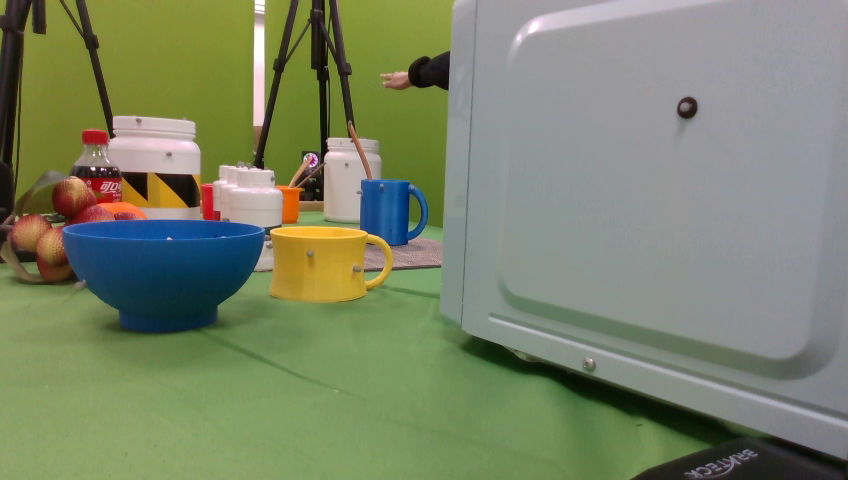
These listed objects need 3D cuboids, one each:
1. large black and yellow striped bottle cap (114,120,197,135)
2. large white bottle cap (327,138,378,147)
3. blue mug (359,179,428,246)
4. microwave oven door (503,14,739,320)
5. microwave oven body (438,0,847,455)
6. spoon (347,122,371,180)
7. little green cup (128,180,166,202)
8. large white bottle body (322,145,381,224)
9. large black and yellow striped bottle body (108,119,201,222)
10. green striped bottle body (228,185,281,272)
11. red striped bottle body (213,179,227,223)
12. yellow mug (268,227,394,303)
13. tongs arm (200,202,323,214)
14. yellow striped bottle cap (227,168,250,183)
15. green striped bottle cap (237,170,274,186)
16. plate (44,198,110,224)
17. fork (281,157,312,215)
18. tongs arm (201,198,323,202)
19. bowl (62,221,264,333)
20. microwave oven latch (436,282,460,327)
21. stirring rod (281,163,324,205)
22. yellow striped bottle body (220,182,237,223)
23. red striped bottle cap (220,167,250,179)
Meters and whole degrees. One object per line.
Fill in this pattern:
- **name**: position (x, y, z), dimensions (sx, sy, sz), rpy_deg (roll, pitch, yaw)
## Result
- **large black and yellow striped bottle cap**: position (-0.407, -0.171, 0.920), dimensions (0.115, 0.019, 0.115), rpy_deg (2, 9, 0)
- **large white bottle cap**: position (-0.160, -0.218, 1.357), dimensions (0.115, 0.018, 0.115), rpy_deg (2, 8, 0)
- **blue mug**: position (-0.051, -0.046, 1.003), dimensions (0.116, 0.106, 0.082), rpy_deg (4, 8, 12)
- **microwave oven door**: position (0.218, -0.065, 0.600), dimensions (0.358, 0.243, 0.039), rpy_deg (-4, 10, -41)
- **microwave oven body**: position (0.280, -0.039, 0.464), dimensions (0.444, 0.260, 0.324), rpy_deg (-3, 8, -41)
- **spoon**: position (-0.097, -0.107, 1.016), dimensions (0.021, 0.193, 0.041), rpy_deg (-15, -3, 0)
- **little green cup**: position (-0.485, -0.087, 1.062), dimensions (0.061, 0.038, 0.061), rpy_deg (-1, 6, 0)
- **large white bottle body**: position (-0.163, -0.135, 1.368), dimensions (0.131, 0.184, 0.130), rpy_deg (2, 7, 0)
- **large black and yellow striped bottle body**: position (-0.412, -0.088, 0.930), dimensions (0.131, 0.184, 0.130), rpy_deg (3, 7, 0)
- **green striped bottle body**: position (-0.208, -0.023, 0.745), dimensions (0.063, 0.119, 0.063), rpy_deg (2, 7, 0)
- **red striped bottle body**: position (-0.284, -0.048, 0.909), dimensions (0.063, 0.119, 0.063), rpy_deg (3, 10, 0)
- **yellow mug**: position (-0.094, 0.023, 0.629), dimensions (0.131, 0.064, 0.099), rpy_deg (0, 7, -22)
- **tongs arm**: position (-0.378, -0.079, 1.440), dimensions (0.387, 0.026, 0.050), rpy_deg (-4, 8, -44)
- **yellow striped bottle cap**: position (-0.243, -0.087, 0.818), dimensions (0.044, 0.018, 0.044), rpy_deg (3, 6, 0)
- **green striped bottle cap**: position (-0.205, -0.075, 0.737), dimensions (0.044, 0.020, 0.044), rpy_deg (1, 6, 0)
- **plate**: position (-0.617, -0.056, 1.179), dimensions (0.209, 0.038, 0.209), rpy_deg (3, 7, 0)
- **fork**: position (-0.289, -0.116, 1.321), dimensions (0.028, 0.019, 0.207), rpy_deg (6, 51, 19)
- **tongs arm**: position (-0.433, -0.090, 1.507), dimensions (0.390, 0.028, 0.028), rpy_deg (-1, 2, -30)
- **bowl**: position (-0.209, 0.029, 0.496), dimensions (0.151, 0.077, 0.151), rpy_deg (2, 7, 0)
- **microwave oven latch**: position (0.045, 0.046, 0.471), dimensions (0.079, 0.029, 0.030), rpy_deg (-3, 8, -41)
- **stirring rod**: position (-0.278, -0.105, 1.293), dimensions (0.176, 0.006, 0.014), rpy_deg (-47, 24, -18)
- **yellow striped bottle body**: position (-0.246, -0.036, 0.825), dimensions (0.063, 0.120, 0.063), rpy_deg (3, 8, 0)
- **red striped bottle cap**: position (-0.281, -0.100, 0.901), dimensions (0.044, 0.017, 0.044), rpy_deg (0, 5, 0)
